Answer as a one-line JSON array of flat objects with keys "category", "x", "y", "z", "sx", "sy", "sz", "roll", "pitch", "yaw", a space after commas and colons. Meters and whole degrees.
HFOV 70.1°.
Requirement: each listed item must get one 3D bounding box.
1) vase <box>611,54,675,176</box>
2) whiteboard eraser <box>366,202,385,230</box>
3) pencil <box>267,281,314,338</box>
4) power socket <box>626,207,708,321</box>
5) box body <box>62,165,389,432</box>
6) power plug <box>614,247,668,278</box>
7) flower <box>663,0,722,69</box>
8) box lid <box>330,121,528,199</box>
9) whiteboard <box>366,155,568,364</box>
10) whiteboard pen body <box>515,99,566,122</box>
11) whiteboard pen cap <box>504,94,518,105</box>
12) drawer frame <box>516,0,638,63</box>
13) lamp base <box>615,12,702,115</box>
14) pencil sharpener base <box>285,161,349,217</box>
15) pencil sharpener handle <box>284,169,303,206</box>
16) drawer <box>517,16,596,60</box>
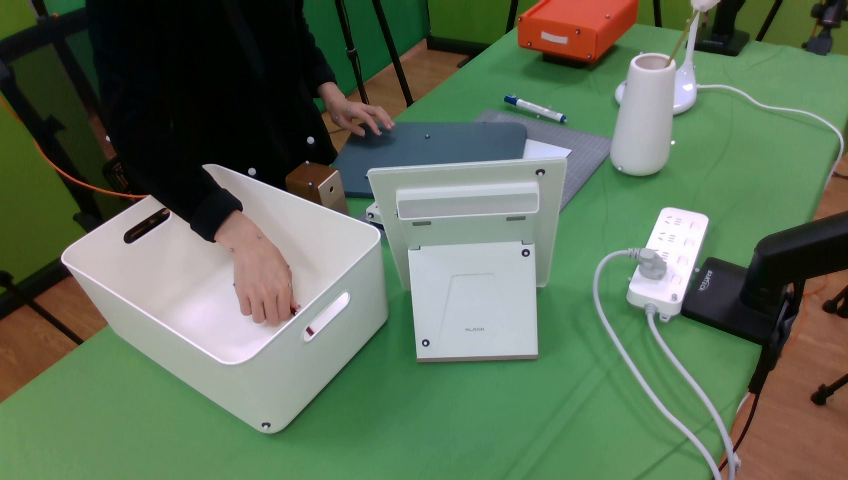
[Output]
[{"category": "vase", "x": 0.377, "y": -0.209, "z": 1.031, "sx": 0.098, "sy": 0.201, "sz": 0.097, "roll": -3, "pitch": 40, "yaw": 3}, {"category": "whiteboard eraser", "x": -0.037, "y": -0.038, "z": 1.006, "sx": 0.112, "sy": 0.042, "sz": 0.055, "roll": 16, "pitch": 48, "yaw": 25}, {"category": "pencil", "x": -0.189, "y": 0.107, "z": 0.879, "sx": 0.012, "sy": 0.012, "sz": 0.192, "roll": -29, "pitch": 42, "yaw": -23}, {"category": "power socket", "x": 0.359, "y": 0.025, "z": 0.886, "sx": 0.072, "sy": 0.033, "sz": 0.227, "roll": 16, "pitch": 46, "yaw": 26}, {"category": "box body", "x": -0.255, "y": 0.065, "z": 0.827, "sx": 0.361, "sy": 0.161, "sz": 0.255, "roll": 21, "pitch": 48, "yaw": 29}, {"category": "power plug", "x": 0.306, "y": 0.031, "z": 0.851, "sx": 0.072, "sy": 0.053, "sz": 0.035, "roll": 24, "pitch": 49, "yaw": 33}, {"category": "flower", "x": 0.379, "y": -0.261, "z": 0.965, "sx": 0.044, "sy": 0.362, "sz": 0.038, "roll": 20, "pitch": 53, "yaw": 5}, {"category": "box lid", "x": 0.009, "y": -0.158, "z": 1.167, "sx": 0.370, "sy": 0.015, "sz": 0.262, "roll": 3, "pitch": 41, "yaw": 13}, {"category": "whiteboard", "x": 0.059, "y": 0.050, "z": 0.738, "sx": 0.217, "sy": 0.307, "sz": 0.143, "roll": -2, "pitch": 60, "yaw": 5}, {"category": "whiteboard pen body", "x": 0.233, "y": -0.274, "z": 1.262, "sx": 0.139, "sy": 0.017, "sz": 0.017, "roll": 28, "pitch": 51, "yaw": 29}, {"category": "whiteboard pen cap", "x": 0.190, "y": -0.299, "z": 1.292, "sx": 0.033, "sy": 0.018, "sz": 0.018, "roll": 30, "pitch": 52, "yaw": 28}, {"category": "drawer frame", "x": 0.355, "y": -0.508, "z": 1.410, "sx": 0.200, "sy": 0.083, "sz": 0.214, "roll": 23, "pitch": 51, "yaw": 32}, {"category": "lamp base", "x": 0.484, "y": -0.364, "z": 1.211, "sx": 0.180, "sy": 0.181, "sz": 0.159, "roll": -15, "pitch": 41, "yaw": -14}, {"category": "pencil sharpener base", "x": -0.180, "y": -0.071, "z": 1.019, "sx": 0.076, "sy": 0.107, "sz": 0.061, "roll": 16, "pitch": 46, "yaw": 26}, {"category": "pencil sharpener handle", "x": -0.227, "y": -0.091, "z": 1.030, "sx": 0.030, "sy": 0.068, "sz": 0.036, "roll": 16, "pitch": 33, "yaw": 26}, {"category": "drawer", "x": 0.352, "y": -0.506, "z": 1.405, "sx": 0.193, "sy": 0.073, "sz": 0.212, "roll": 23, "pitch": 49, "yaw": 32}]
